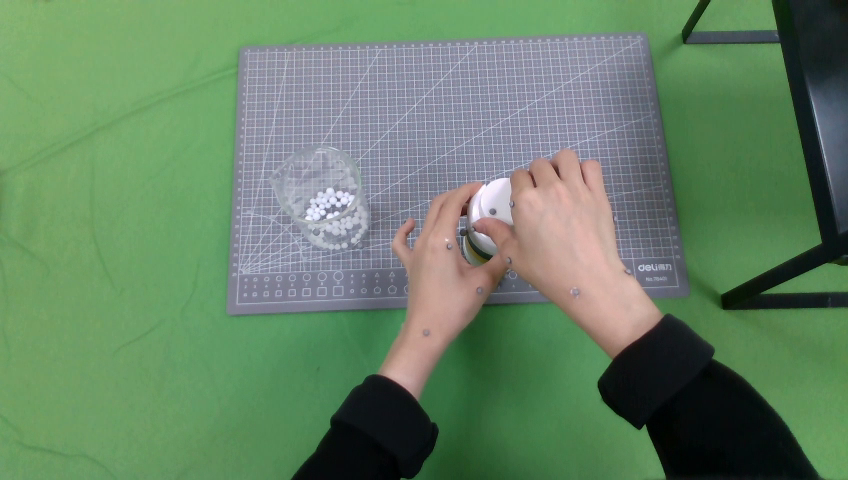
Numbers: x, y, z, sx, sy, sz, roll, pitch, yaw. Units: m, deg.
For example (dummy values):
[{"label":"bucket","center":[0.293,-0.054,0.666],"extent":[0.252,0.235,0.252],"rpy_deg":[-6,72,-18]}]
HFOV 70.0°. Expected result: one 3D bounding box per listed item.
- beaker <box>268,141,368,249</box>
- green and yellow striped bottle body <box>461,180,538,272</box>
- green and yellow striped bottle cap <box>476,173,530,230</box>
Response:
[{"label":"beaker","center":[-0.094,-0.037,0.567],"extent":[0.084,0.101,0.073],"rpy_deg":[9,73,4]},{"label":"green and yellow striped bottle body","center":[0.067,-0.015,0.549],"extent":[0.063,0.120,0.063],"rpy_deg":[0,73,1]},{"label":"green and yellow striped bottle cap","center":[0.065,-0.032,0.500],"extent":[0.045,0.020,0.045],"rpy_deg":[0,75,0]}]
